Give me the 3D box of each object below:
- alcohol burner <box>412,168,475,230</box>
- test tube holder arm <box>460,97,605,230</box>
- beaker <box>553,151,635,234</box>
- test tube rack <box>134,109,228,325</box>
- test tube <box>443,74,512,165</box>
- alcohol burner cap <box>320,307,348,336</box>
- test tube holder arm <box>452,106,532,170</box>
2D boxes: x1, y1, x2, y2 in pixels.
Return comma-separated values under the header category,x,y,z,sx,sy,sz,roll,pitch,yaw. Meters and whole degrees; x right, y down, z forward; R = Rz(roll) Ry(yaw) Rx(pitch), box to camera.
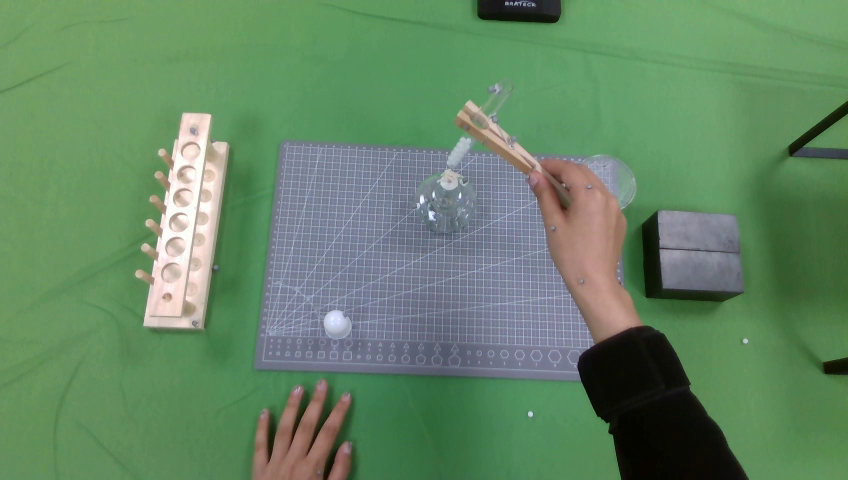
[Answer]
category,x,y,z,sx,sy,sz,roll,pitch,yaw
alcohol burner,0.024,-0.056,0.728,0.078,0.119,0.077,0,73,-1
test tube holder arm,0.103,-0.072,0.577,0.178,0.015,0.013,41,64,-1
beaker,0.201,-0.054,0.747,0.084,0.101,0.073,1,72,-2
test tube rack,-0.291,-0.027,0.716,0.067,0.085,0.241,3,73,-2
test tube,0.048,-0.110,0.581,0.017,0.150,0.017,6,69,-15
alcohol burner cap,-0.107,0.093,0.711,0.034,0.048,0.033,2,74,-5
test tube holder arm,0.065,-0.096,0.573,0.088,0.015,0.010,34,64,-4
